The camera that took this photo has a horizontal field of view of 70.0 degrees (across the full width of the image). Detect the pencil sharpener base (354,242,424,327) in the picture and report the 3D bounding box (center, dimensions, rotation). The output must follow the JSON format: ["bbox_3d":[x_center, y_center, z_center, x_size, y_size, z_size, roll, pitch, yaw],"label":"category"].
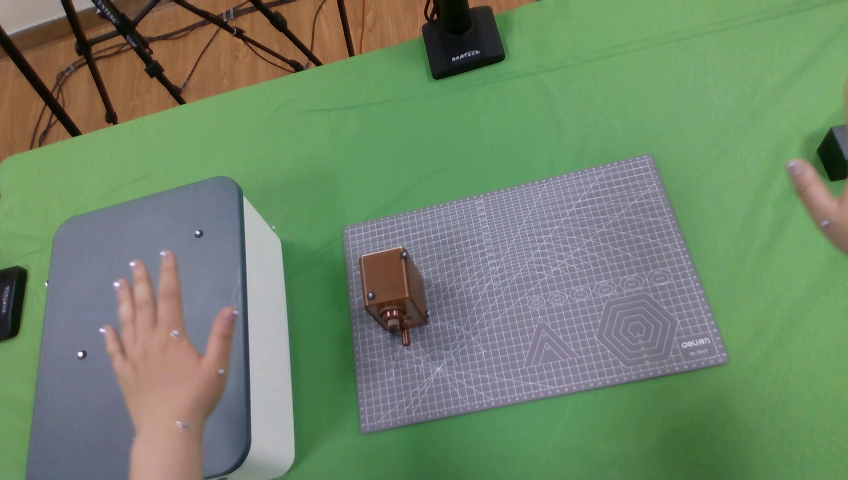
[{"bbox_3d":[-0.043,0.062,0.771,0.061,0.108,0.076,-13,64,7],"label":"pencil sharpener base"}]

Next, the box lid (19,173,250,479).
[{"bbox_3d":[-0.335,0.099,0.709,0.263,0.015,0.368,-14,63,5],"label":"box lid"}]

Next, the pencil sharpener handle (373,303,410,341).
[{"bbox_3d":[-0.035,0.101,0.737,0.036,0.068,0.030,-18,62,18],"label":"pencil sharpener handle"}]

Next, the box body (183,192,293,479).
[{"bbox_3d":[-0.319,0.132,0.774,0.254,0.162,0.360,-15,63,6],"label":"box body"}]
